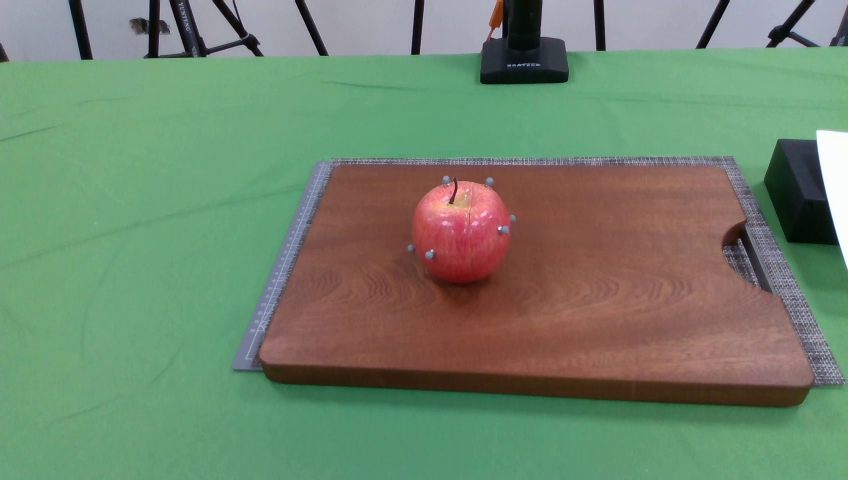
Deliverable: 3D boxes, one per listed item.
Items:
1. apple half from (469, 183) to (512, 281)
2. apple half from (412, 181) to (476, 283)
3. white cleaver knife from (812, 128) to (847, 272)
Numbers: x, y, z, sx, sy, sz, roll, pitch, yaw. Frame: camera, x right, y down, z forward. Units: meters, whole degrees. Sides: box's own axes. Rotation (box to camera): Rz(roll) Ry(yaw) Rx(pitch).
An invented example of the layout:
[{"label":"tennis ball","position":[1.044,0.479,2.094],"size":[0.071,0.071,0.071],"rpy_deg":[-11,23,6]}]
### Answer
[{"label":"apple half","position":[0.056,-0.006,0.495],"size":[0.033,0.082,0.080],"rpy_deg":[-2,41,10]},{"label":"apple half","position":[0.018,-0.006,0.501],"size":[0.053,0.075,0.080],"rpy_deg":[-2,43,11]},{"label":"white cleaver knife","position":[0.371,0.011,0.490],"size":[0.065,0.022,0.284],"rpy_deg":[1,52,14]}]
